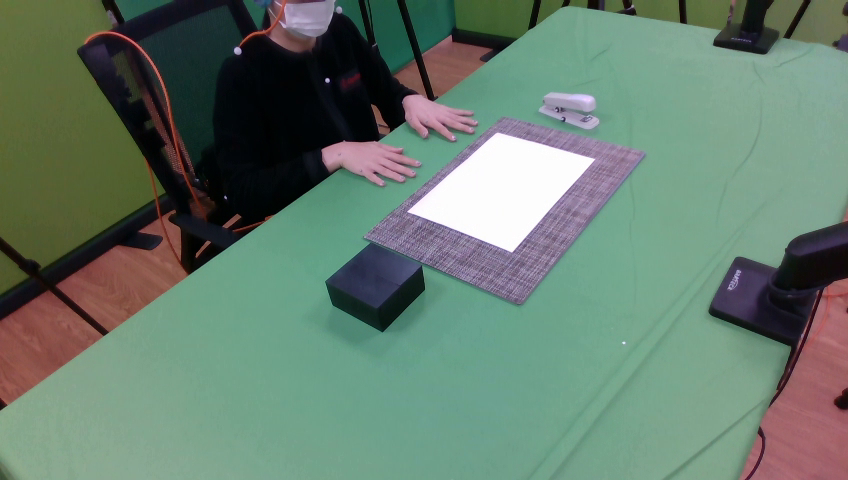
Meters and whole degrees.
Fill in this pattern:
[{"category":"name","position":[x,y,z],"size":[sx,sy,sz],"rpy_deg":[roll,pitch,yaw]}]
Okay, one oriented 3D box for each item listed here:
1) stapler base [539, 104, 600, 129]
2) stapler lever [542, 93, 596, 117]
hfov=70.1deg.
[{"category":"stapler base","position":[0.297,-0.261,1.233],"size":[0.041,0.024,0.129],"rpy_deg":[-34,45,-29]},{"category":"stapler lever","position":[0.292,-0.280,1.218],"size":[0.027,0.040,0.117],"rpy_deg":[-34,46,-29]}]
